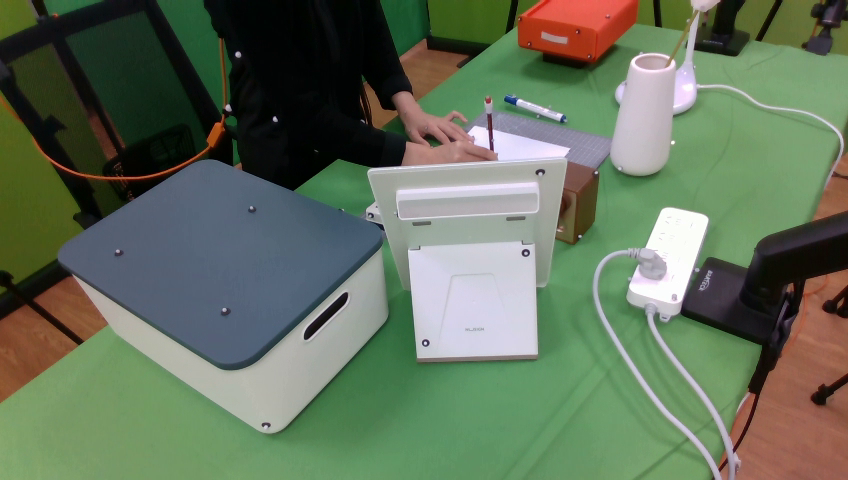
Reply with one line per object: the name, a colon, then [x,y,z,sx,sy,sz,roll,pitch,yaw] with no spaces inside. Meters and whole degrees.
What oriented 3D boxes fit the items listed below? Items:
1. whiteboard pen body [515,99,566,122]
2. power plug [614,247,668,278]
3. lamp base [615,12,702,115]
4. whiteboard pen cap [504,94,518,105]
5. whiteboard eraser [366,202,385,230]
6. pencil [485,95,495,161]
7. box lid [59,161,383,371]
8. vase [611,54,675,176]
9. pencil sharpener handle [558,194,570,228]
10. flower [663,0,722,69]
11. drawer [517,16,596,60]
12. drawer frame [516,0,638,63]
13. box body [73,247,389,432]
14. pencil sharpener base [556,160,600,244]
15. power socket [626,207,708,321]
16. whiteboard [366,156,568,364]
whiteboard pen body: [0.234,-0.274,1.262,0.139,0.017,0.017,28,51,29]
power plug: [0.306,0.031,0.851,0.072,0.053,0.035,24,49,33]
lamp base: [0.484,-0.363,1.211,0.180,0.181,0.159,-15,41,-14]
whiteboard pen cap: [0.190,-0.299,1.292,0.033,0.018,0.018,30,52,28]
whiteboard eraser: [-0.038,-0.038,1.006,0.112,0.042,0.055,16,47,25]
pencil: [0.113,-0.162,1.011,0.012,0.195,0.012,-5,51,6]
box lid: [-0.262,0.010,0.777,0.369,0.015,0.264,21,48,29]
vase: [0.377,-0.209,1.031,0.098,0.201,0.097,-3,40,3]
pencil sharpener handle: [0.195,-0.038,0.908,0.035,0.068,0.031,24,50,30]
flower: [0.379,-0.261,0.965,0.044,0.362,0.038,20,53,5]
drawer: [0.353,-0.506,1.405,0.193,0.073,0.212,23,49,32]
drawer frame: [0.355,-0.508,1.411,0.200,0.083,0.214,23,51,32]
box body: [-0.255,0.065,0.827,0.361,0.161,0.255,21,48,29]
pencil sharpener base: [0.228,-0.057,0.945,0.061,0.107,0.077,24,50,31]
power socket: [0.359,0.025,0.886,0.072,0.033,0.227,16,46,26]
whiteboard: [0.059,0.050,0.738,0.217,0.307,0.143,-2,60,6]
